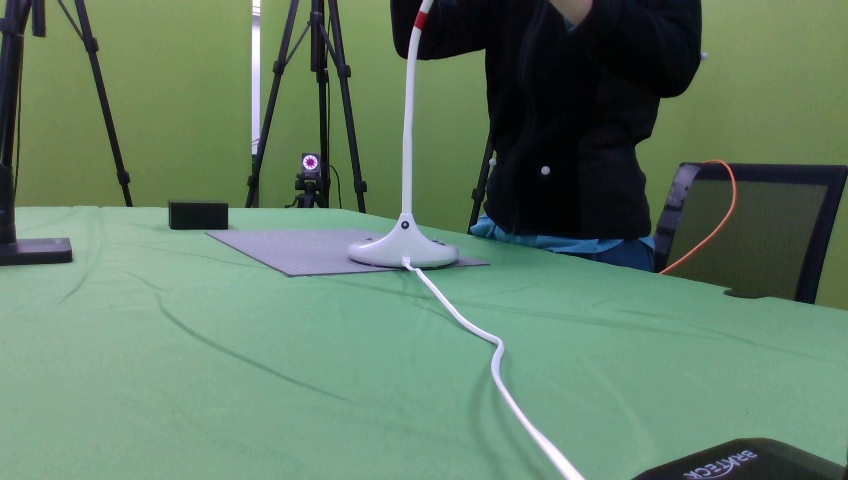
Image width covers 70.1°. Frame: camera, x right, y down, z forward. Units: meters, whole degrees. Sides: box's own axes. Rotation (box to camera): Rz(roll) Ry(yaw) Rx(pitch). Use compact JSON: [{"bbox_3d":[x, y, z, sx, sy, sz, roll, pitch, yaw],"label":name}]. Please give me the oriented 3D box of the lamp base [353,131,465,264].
[{"bbox_3d":[-0.015,-0.062,0.851,0.161,0.180,0.178,-1,11,-20],"label":"lamp base"}]
